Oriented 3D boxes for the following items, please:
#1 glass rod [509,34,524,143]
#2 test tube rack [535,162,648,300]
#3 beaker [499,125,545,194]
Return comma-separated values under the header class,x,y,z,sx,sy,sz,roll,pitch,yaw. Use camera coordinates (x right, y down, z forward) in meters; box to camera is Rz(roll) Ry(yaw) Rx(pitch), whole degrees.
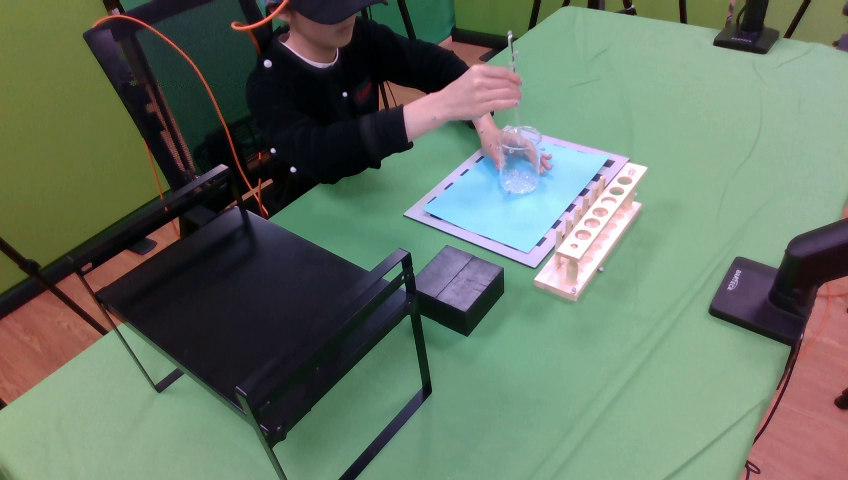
class,x,y,z,sx,sy,sz,roll,pitch,yaw
glass rod,0.145,-0.229,0.941,0.008,0.201,0.008,-8,48,9
test tube rack,0.257,-0.024,0.916,0.066,0.085,0.243,22,49,30
beaker,0.168,-0.138,1.046,0.074,0.101,0.083,-8,40,0
